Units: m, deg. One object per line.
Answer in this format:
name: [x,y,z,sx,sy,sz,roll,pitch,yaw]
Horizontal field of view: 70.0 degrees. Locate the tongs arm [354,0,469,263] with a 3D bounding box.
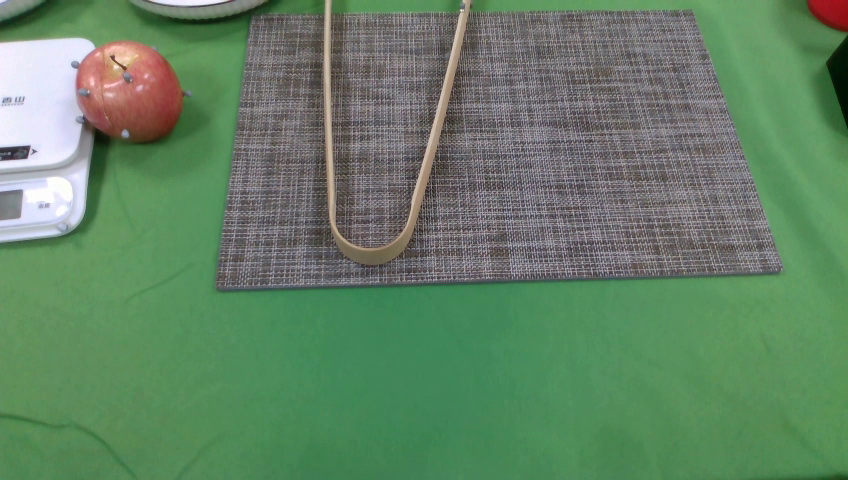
tongs arm: [0.003,-0.152,0.555,0.051,0.027,0.382,9,63,3]

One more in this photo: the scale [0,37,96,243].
scale: [-0.357,-0.089,0.515,0.149,0.032,0.199,-6,63,-5]

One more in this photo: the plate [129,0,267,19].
plate: [-0.222,-0.300,0.629,0.209,0.038,0.207,1,61,-1]

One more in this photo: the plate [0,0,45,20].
plate: [-0.447,-0.289,0.617,0.208,0.039,0.206,1,62,-1]

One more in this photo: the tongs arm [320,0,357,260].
tongs arm: [-0.082,-0.157,0.557,0.028,0.028,0.384,-2,62,-7]

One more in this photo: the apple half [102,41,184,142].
apple half: [-0.234,-0.125,0.515,0.053,0.075,0.080,-10,59,-9]

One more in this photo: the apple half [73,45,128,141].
apple half: [-0.272,-0.118,0.509,0.033,0.082,0.080,-10,62,-10]
